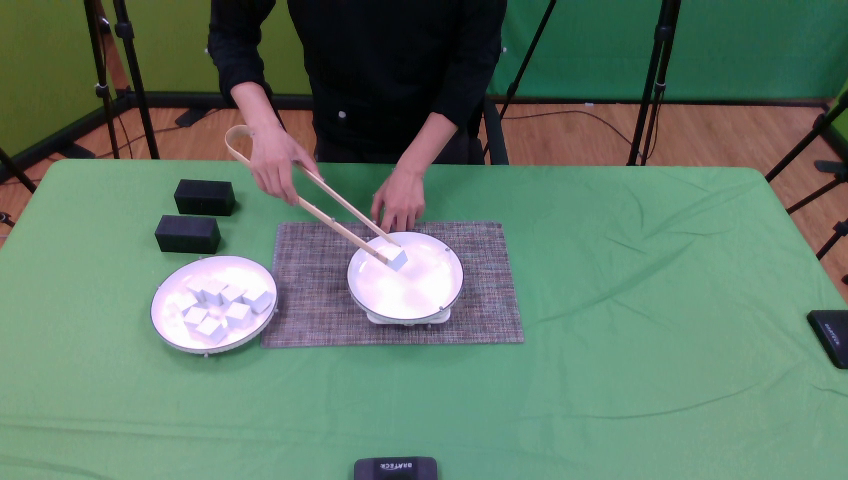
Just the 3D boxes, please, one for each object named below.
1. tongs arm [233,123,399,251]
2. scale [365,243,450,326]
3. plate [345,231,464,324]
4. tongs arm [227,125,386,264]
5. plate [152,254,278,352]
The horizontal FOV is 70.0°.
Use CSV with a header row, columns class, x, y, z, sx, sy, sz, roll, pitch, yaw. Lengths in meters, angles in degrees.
class,x,y,z,sx,sy,sz,roll,pitch,yaw
tongs arm,-0.193,-0.099,1.073,0.386,0.028,0.028,38,74,14
scale,-0.032,0.071,1.113,0.149,0.032,0.199,0,45,-4
plate,-0.034,0.069,1.069,0.209,0.038,0.208,2,46,-2
tongs arm,-0.207,-0.084,1.065,0.384,0.026,0.050,33,69,13
plate,-0.357,0.111,1.052,0.208,0.039,0.206,2,46,-2
